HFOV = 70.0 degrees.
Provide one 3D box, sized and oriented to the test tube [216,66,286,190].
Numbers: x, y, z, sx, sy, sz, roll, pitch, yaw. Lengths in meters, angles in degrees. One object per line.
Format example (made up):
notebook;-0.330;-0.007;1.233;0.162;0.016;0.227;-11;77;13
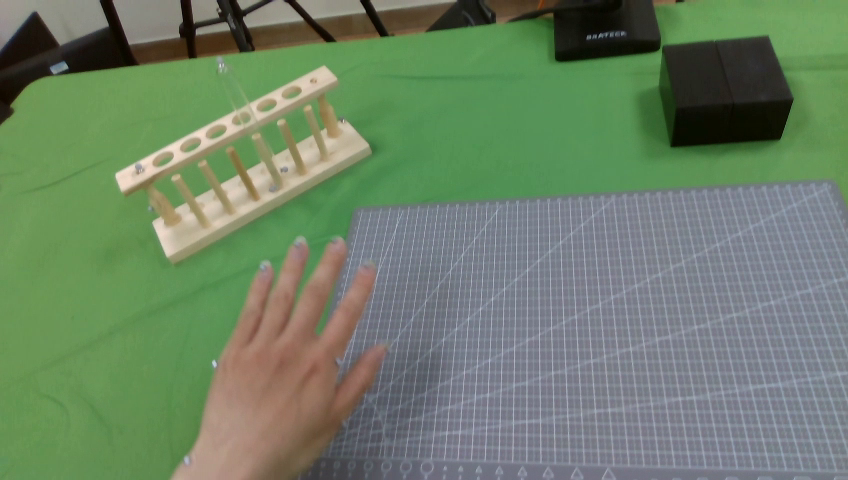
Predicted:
test tube;-0.171;-0.108;0.605;0.017;0.152;0.017;-6;49;8

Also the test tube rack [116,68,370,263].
test tube rack;-0.186;-0.082;0.647;0.242;0.086;0.066;-31;50;-12
